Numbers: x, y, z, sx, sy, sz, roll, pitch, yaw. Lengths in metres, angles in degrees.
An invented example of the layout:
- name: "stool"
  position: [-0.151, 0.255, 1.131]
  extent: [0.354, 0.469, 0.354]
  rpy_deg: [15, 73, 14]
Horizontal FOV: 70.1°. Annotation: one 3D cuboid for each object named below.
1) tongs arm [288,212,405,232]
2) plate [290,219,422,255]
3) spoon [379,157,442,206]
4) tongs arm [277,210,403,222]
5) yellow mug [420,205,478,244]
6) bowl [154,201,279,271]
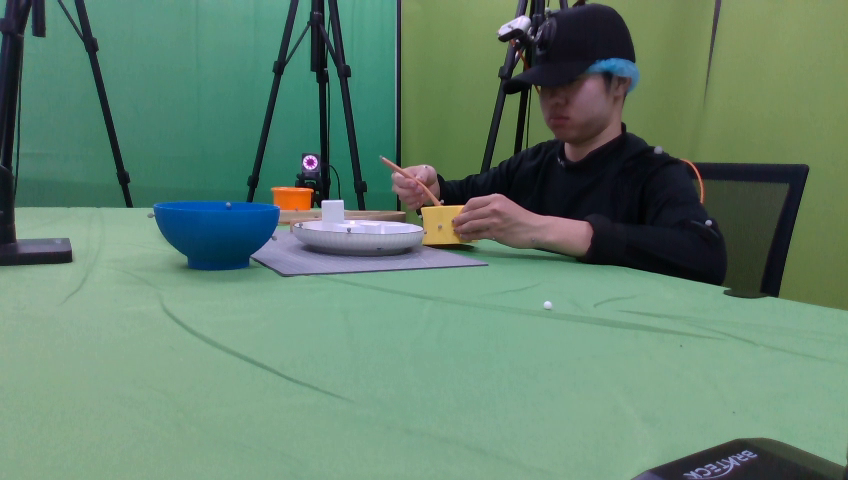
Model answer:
- name: "tongs arm"
  position: [-0.146, -0.040, 1.280]
  extent: [0.028, 0.028, 0.389]
  rpy_deg: [3, 5, 33]
- name: "plate"
  position: [-0.108, -0.005, 0.963]
  extent: [0.208, 0.039, 0.207]
  rpy_deg: [3, 7, 0]
- name: "spoon"
  position: [-0.004, -0.090, 1.062]
  extent: [0.193, 0.021, 0.042]
  rpy_deg: [41, 10, 10]
- name: "tongs arm"
  position: [-0.206, -0.052, 1.332]
  extent: [0.387, 0.026, 0.050]
  rpy_deg: [-2, 8, -44]
- name: "yellow mug"
  position: [0.051, -0.027, 1.042]
  extent: [0.100, 0.064, 0.130]
  rpy_deg: [-4, 3, -31]
- name: "bowl"
  position: [-0.263, -0.005, 0.773]
  extent: [0.151, 0.077, 0.151]
  rpy_deg: [3, 8, 0]
